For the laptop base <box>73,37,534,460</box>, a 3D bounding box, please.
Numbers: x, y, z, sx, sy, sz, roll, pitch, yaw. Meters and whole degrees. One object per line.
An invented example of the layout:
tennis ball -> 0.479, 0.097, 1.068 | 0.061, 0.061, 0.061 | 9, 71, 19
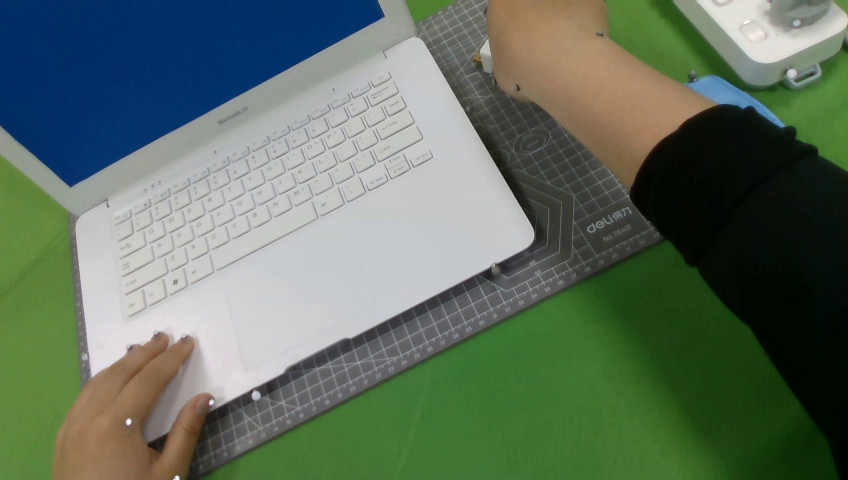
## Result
laptop base -> -0.117, -0.007, 0.488 | 0.354, 0.023, 0.233 | -28, 62, 3

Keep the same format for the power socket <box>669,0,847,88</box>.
power socket -> 0.227, -0.205, 0.467 | 0.072, 0.033, 0.224 | -25, 59, 6

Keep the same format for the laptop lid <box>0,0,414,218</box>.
laptop lid -> -0.203, -0.168, 0.463 | 0.357, 0.244, 0.013 | -29, 46, 4

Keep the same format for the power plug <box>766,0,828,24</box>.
power plug -> 0.271, -0.168, 0.409 | 0.072, 0.053, 0.035 | -15, 63, 9

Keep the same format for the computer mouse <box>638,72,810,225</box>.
computer mouse -> 0.197, -0.067, 0.405 | 0.063, 0.041, 0.116 | -27, 57, 6

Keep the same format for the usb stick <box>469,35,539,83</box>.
usb stick -> 0.063, -0.149, 0.494 | 0.058, 0.027, 0.021 | 22, 65, 29
